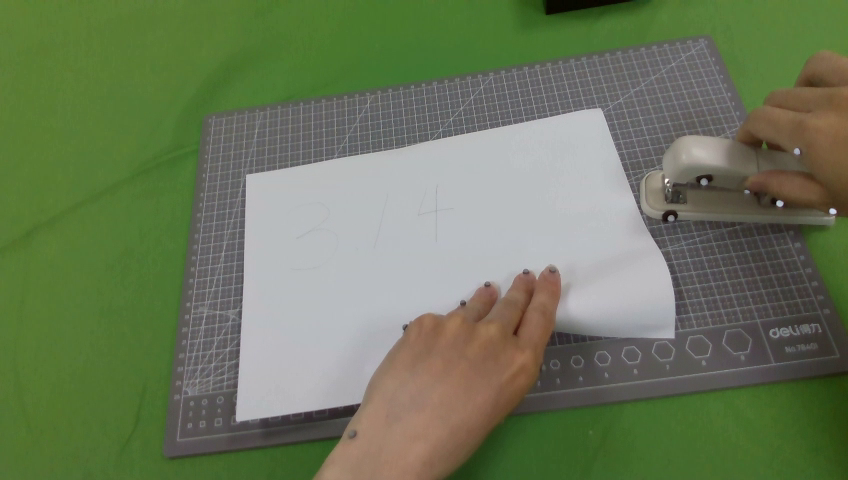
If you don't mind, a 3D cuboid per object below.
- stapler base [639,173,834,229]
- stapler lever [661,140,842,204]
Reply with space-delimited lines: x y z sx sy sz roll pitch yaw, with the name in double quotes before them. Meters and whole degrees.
"stapler base" 0.223 -0.033 0.432 0.130 0.024 0.041 4 63 8
"stapler lever" 0.222 -0.046 0.410 0.118 0.040 0.026 3 63 8
